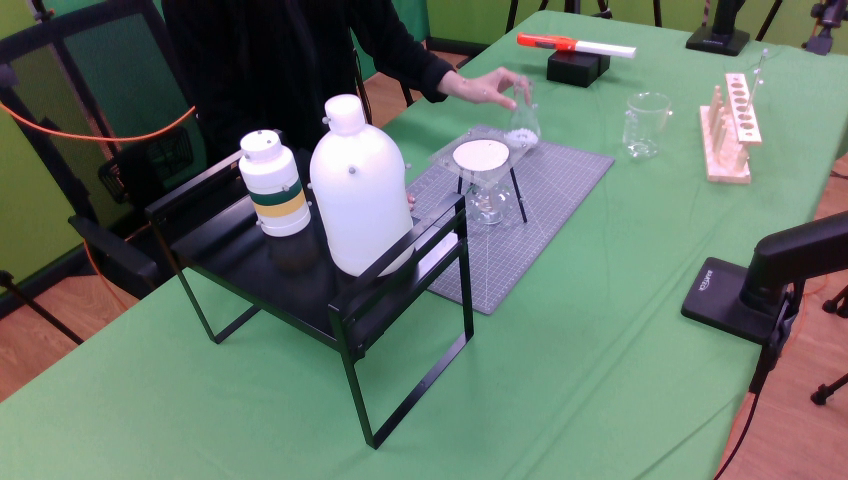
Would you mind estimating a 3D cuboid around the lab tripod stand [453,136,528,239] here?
[{"bbox_3d":[0.094,-0.086,0.974,0.148,0.132,0.147,-4,43,4],"label":"lab tripod stand"}]

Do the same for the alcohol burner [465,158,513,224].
[{"bbox_3d":[0.105,-0.085,0.987,0.078,0.119,0.077,-5,43,5],"label":"alcohol burner"}]

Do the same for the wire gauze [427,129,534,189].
[{"bbox_3d":[0.086,-0.131,0.923,0.124,0.011,0.122,26,52,33],"label":"wire gauze"}]

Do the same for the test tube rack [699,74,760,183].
[{"bbox_3d":[0.547,-0.208,1.095,0.066,0.085,0.242,6,42,16],"label":"test tube rack"}]

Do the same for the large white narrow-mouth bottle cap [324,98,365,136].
[{"bbox_3d":[-0.076,-0.120,0.586,0.038,0.024,0.037,-3,42,3],"label":"large white narrow-mouth bottle cap"}]

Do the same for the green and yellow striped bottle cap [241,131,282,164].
[{"bbox_3d":[-0.187,-0.107,0.695,0.045,0.020,0.045,-3,39,3],"label":"green and yellow striped bottle cap"}]

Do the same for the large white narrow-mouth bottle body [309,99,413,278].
[{"bbox_3d":[-0.068,-0.057,0.645,0.102,0.195,0.101,-3,42,4],"label":"large white narrow-mouth bottle body"}]

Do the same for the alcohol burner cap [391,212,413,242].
[{"bbox_3d":[-0.038,-0.023,0.989,0.034,0.048,0.033,-5,40,4],"label":"alcohol burner cap"}]

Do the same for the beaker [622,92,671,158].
[{"bbox_3d":[0.402,-0.209,1.106,0.074,0.101,0.083,-9,40,-2],"label":"beaker"}]

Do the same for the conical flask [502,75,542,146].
[{"bbox_3d":[0.183,-0.241,1.117,0.075,0.122,0.075,-3,42,3],"label":"conical flask"}]

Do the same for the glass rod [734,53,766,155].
[{"bbox_3d":[0.540,-0.220,1.006,0.008,0.201,0.008,-5,45,6],"label":"glass rod"}]

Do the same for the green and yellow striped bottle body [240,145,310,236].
[{"bbox_3d":[-0.181,-0.068,0.729,0.063,0.120,0.063,-4,40,4],"label":"green and yellow striped bottle body"}]

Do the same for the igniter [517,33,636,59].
[{"bbox_3d":[0.336,-0.441,1.369,0.275,0.025,0.057,17,41,24],"label":"igniter"}]
